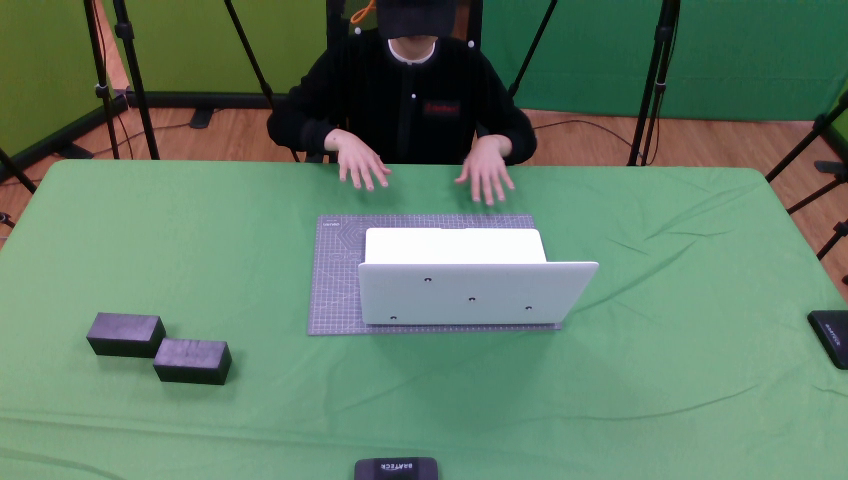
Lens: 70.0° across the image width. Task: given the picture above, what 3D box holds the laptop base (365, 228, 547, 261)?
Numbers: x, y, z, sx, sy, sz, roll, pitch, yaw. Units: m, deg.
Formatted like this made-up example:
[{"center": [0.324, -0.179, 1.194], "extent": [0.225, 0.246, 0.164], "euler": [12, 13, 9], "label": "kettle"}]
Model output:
[{"center": [0.064, 0.063, 1.143], "extent": [0.355, 0.023, 0.234], "euler": [0, 42, -4], "label": "laptop base"}]

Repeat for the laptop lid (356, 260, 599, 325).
[{"center": [0.074, 0.089, 0.958], "extent": [0.357, 0.242, 0.013], "euler": [1, 60, -5], "label": "laptop lid"}]
